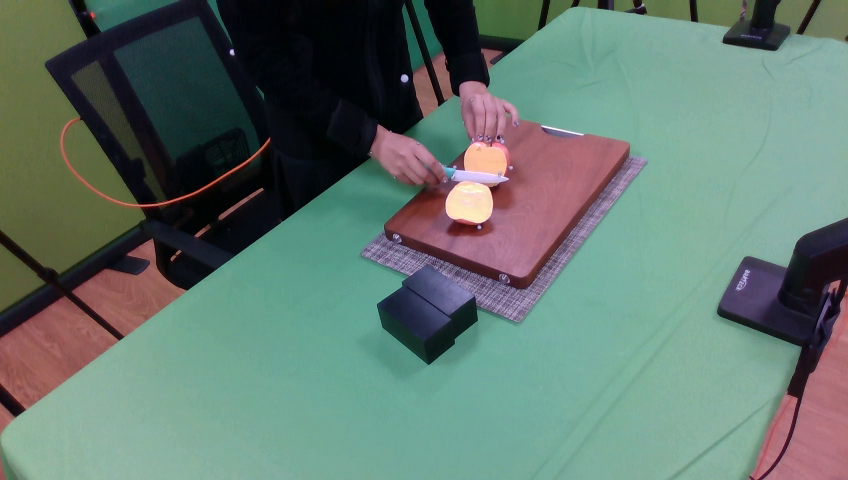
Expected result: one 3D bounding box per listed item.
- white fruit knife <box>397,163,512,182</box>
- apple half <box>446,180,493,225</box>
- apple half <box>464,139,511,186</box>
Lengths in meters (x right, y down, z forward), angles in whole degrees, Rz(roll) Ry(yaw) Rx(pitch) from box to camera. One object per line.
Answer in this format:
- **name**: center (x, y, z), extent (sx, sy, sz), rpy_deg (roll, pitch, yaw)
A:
- **white fruit knife**: center (0.048, -0.113, 1.025), extent (0.206, 0.027, 0.016), rpy_deg (7, 39, 20)
- **apple half**: center (0.076, -0.056, 0.976), extent (0.081, 0.033, 0.081), rpy_deg (-3, 65, 6)
- **apple half**: center (0.114, -0.135, 1.037), extent (0.080, 0.075, 0.053), rpy_deg (12, 22, 24)
